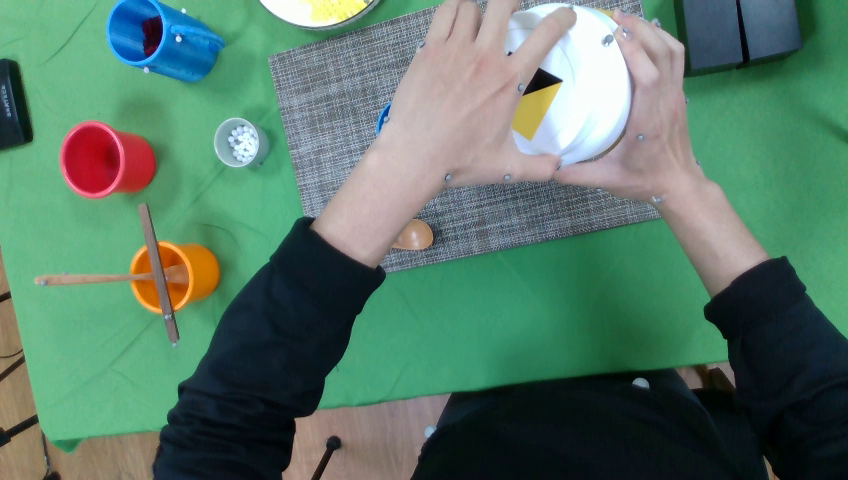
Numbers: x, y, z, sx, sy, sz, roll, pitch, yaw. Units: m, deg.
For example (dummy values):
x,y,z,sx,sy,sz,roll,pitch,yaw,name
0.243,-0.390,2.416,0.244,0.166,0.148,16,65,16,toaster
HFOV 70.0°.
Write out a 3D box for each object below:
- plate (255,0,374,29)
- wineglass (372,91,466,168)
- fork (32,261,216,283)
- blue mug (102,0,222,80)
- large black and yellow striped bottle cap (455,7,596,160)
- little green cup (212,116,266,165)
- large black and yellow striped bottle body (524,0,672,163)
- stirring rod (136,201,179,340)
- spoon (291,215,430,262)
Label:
x,y,z,sx,sy,sz,roll,pitch,yaw,name
-0.127,-0.360,0.732,0.208,0.038,0.209,1,96,12,plate
0.000,-0.114,0.653,0.073,0.172,0.074,1,94,13,wineglass
-0.372,0.043,0.765,0.208,0.018,0.028,-2,103,-31,fork
-0.311,-0.249,0.748,0.116,0.106,0.082,2,95,12,blue mug
0.075,-0.119,0.469,0.114,0.019,0.115,14,114,34,large black and yellow striped bottle cap
-0.235,-0.126,0.776,0.061,0.038,0.061,1,96,13,little green cup
0.128,-0.139,0.535,0.130,0.184,0.131,13,112,35,large black and yellow striped bottle body
-0.331,0.038,0.753,0.014,0.006,0.176,-12,92,14,stirring rod
-0.083,0.004,0.759,0.193,0.021,0.042,-13,113,13,spoon
